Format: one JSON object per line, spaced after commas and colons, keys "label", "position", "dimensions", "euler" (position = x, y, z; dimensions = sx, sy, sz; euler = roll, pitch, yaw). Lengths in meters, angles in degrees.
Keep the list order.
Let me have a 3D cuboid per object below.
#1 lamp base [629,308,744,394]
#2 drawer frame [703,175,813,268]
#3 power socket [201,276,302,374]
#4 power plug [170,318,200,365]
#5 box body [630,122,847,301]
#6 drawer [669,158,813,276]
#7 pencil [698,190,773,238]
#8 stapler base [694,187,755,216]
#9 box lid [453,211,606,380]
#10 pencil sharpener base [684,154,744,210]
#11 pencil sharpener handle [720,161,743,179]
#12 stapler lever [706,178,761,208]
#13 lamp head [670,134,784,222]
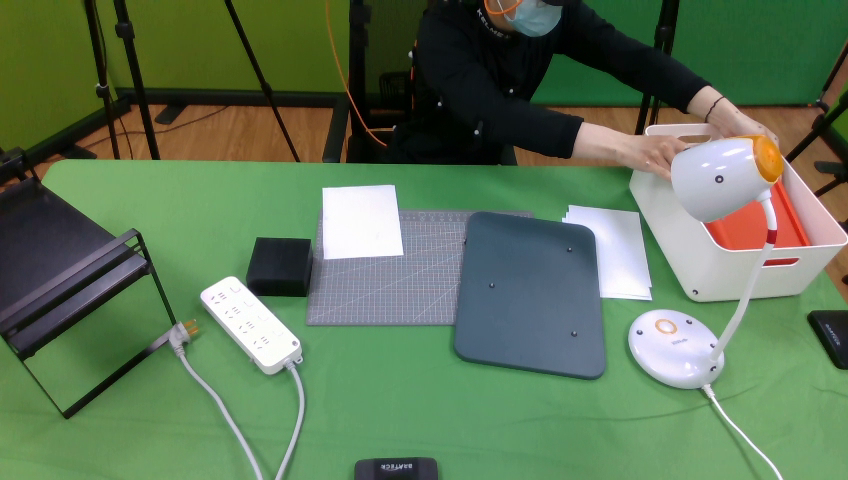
{"label": "lamp base", "position": [0.445, 0.139, 0.987], "dimensions": [0.161, 0.181, 0.178], "euler": [-18, 53, -20]}
{"label": "drawer frame", "position": [0.597, -0.047, 1.144], "dimensions": [0.202, 0.083, 0.212], "euler": [-5, 68, -18]}
{"label": "power socket", "position": [-0.297, 0.141, 1.034], "dimensions": [0.072, 0.033, 0.225], "euler": [-35, 58, -30]}
{"label": "power plug", "position": [-0.392, 0.167, 1.013], "dimensions": [0.052, 0.035, 0.072], "euler": [-31, 89, -23]}
{"label": "box body", "position": [0.594, -0.062, 1.202], "dimensions": [0.254, 0.161, 0.361], "euler": [-4, 47, -7]}
{"label": "drawer", "position": [0.595, -0.047, 1.144], "dimensions": [0.195, 0.073, 0.210], "euler": [-4, 66, -18]}
{"label": "pencil", "position": [0.602, -0.051, 1.171], "dimensions": [0.194, 0.012, 0.012], "euler": [27, 45, -14]}
{"label": "stapler base", "position": [0.590, -0.079, 1.181], "dimensions": [0.131, 0.024, 0.041], "euler": [11, 64, -12]}
{"label": "box lid", "position": [0.200, 0.085, 1.138], "dimensions": [0.263, 0.015, 0.369], "euler": [8, 47, 3]}
{"label": "pencil sharpener base", "position": [0.619, -0.124, 1.294], "dimensions": [0.077, 0.107, 0.061], "euler": [-8, 47, -14]}
{"label": "pencil sharpener handle", "position": [0.667, -0.147, 1.301], "dimensions": [0.031, 0.068, 0.036], "euler": [-8, 79, -14]}
{"label": "stapler lever", "position": [0.598, -0.090, 1.161], "dimensions": [0.118, 0.040, 0.026], "euler": [11, 64, -10]}
{"label": "lamp head", "position": [0.421, -0.089, 0.829], "dimensions": [0.113, 0.123, 0.112], "euler": [8, 75, -32]}
